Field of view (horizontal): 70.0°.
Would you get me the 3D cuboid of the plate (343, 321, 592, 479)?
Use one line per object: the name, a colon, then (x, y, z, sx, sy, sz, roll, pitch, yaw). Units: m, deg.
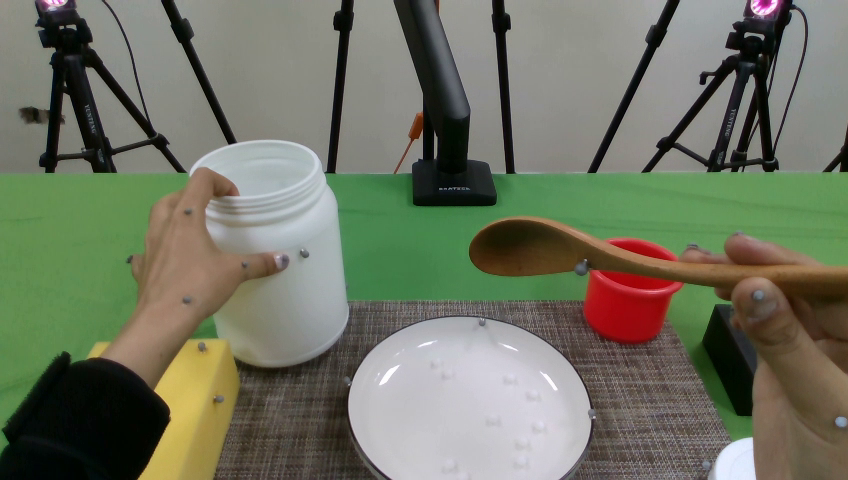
plate: (0.036, 0.150, 0.523, 0.209, 0.038, 0.207, 1, 33, 0)

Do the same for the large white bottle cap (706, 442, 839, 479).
large white bottle cap: (0.279, 0.207, 0.467, 0.115, 0.018, 0.114, 3, 34, -2)

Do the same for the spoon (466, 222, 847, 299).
spoon: (0.109, 0.013, 0.263, 0.192, 0.042, 0.021, 7, 48, 30)

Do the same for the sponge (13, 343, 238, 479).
sponge: (-0.228, 0.171, 0.465, 0.118, 0.061, 0.205, -2, 33, -2)

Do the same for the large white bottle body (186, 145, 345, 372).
large white bottle body: (-0.145, 0.017, 0.570, 0.130, 0.186, 0.129, 0, 34, 0)
